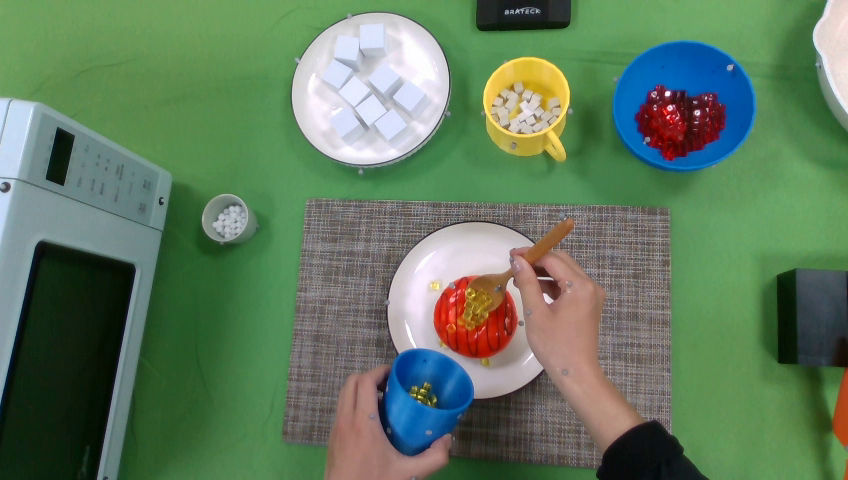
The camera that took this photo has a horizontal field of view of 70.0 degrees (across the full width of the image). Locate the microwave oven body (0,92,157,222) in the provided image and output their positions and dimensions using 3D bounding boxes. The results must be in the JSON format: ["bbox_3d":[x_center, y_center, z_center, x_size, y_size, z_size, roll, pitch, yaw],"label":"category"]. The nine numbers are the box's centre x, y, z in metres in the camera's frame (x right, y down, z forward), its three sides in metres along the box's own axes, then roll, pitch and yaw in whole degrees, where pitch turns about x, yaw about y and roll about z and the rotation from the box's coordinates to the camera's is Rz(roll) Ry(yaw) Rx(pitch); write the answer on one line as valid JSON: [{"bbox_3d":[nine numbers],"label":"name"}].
[{"bbox_3d":[-0.533,0.081,0.682,0.325,0.261,0.440,5,81,9],"label":"microwave oven body"}]

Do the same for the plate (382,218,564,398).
[{"bbox_3d":[0.056,0.078,0.709,0.209,0.038,0.208,-1,80,8],"label":"plate"}]

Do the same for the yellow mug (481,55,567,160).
[{"bbox_3d":[0.129,-0.150,0.729,0.100,0.064,0.130,-35,78,2],"label":"yellow mug"}]

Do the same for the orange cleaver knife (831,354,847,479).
[{"bbox_3d":[0.434,0.189,0.615,0.012,0.077,0.212,2,109,9],"label":"orange cleaver knife"}]

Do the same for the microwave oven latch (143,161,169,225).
[{"bbox_3d":[-0.352,-0.061,0.780,0.030,0.029,0.079,7,82,9],"label":"microwave oven latch"}]

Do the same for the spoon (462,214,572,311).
[{"bbox_3d":[0.089,0.026,0.598,0.041,0.194,0.021,48,57,5],"label":"spoon"}]

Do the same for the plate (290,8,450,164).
[{"bbox_3d":[-0.067,-0.194,0.780,0.207,0.039,0.207,-2,80,8],"label":"plate"}]

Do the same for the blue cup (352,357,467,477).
[{"bbox_3d":[-0.021,0.181,0.597,0.092,0.093,0.100,44,116,14],"label":"blue cup"}]

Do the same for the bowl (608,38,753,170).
[{"bbox_3d":[0.285,-0.144,0.698,0.151,0.077,0.151,-1,80,9],"label":"bowl"}]

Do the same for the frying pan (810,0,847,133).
[{"bbox_3d":[0.559,-0.107,0.637,0.306,0.103,0.485,7,73,11],"label":"frying pan"}]

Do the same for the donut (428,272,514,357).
[{"bbox_3d":[0.054,0.085,0.697,0.099,0.048,0.099,-1,84,9],"label":"donut"}]

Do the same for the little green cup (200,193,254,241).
[{"bbox_3d":[-0.249,-0.027,0.777,0.061,0.039,0.061,-1,81,8],"label":"little green cup"}]

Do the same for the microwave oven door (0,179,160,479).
[{"bbox_3d":[-0.395,0.135,0.647,0.039,0.245,0.354,5,80,10],"label":"microwave oven door"}]
